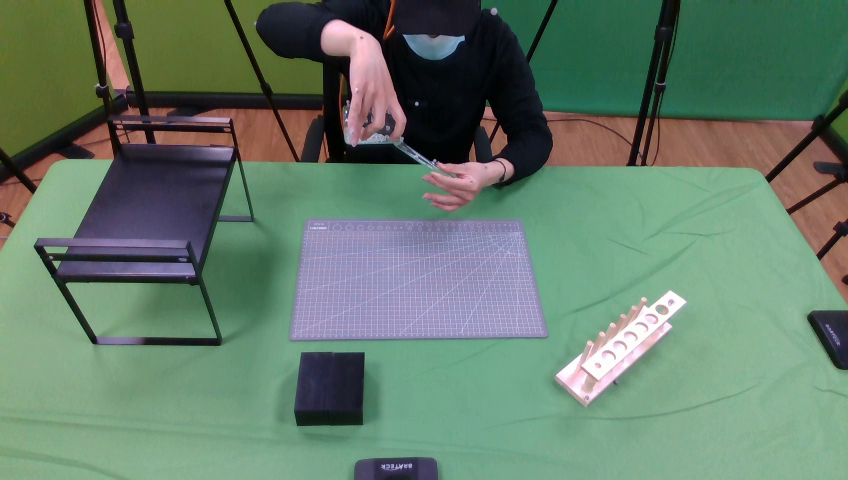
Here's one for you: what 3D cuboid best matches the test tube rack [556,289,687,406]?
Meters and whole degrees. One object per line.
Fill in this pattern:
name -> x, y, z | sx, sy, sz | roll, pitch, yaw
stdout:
test tube rack -> 0.332, 0.165, 1.014 | 0.242, 0.085, 0.066 | -31, 55, -28

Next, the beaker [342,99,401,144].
beaker -> -0.093, -0.206, 1.072 | 0.100, 0.084, 0.073 | -3, 42, -6

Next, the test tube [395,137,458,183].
test tube -> 0.007, -0.148, 1.138 | 0.151, 0.017, 0.017 | 30, 39, -29
